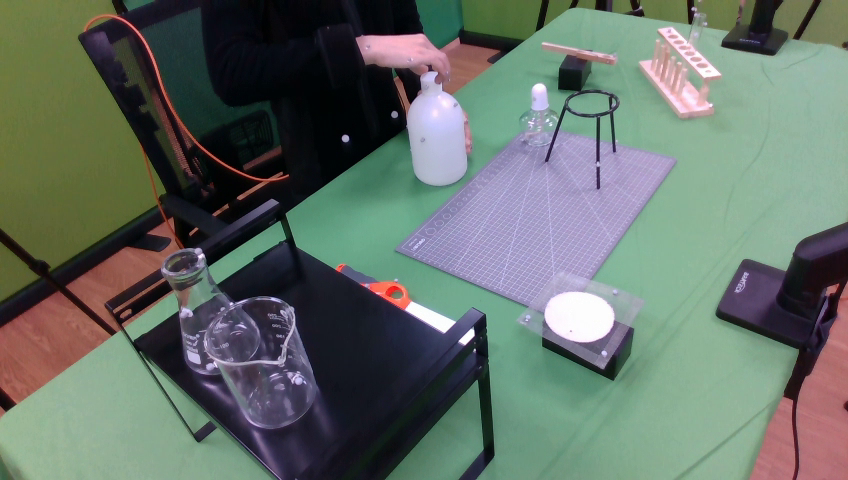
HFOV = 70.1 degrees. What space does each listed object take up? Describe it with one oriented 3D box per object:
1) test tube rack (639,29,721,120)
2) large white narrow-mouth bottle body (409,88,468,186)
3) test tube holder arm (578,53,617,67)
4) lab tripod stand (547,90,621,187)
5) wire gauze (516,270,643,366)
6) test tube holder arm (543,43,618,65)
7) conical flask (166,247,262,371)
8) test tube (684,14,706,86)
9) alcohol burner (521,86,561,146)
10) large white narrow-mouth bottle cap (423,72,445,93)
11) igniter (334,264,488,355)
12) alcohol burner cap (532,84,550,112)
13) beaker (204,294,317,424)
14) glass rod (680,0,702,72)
[{"bbox_3d":[0.527,-0.351,1.262,0.067,0.085,0.241,-8,40,1],"label":"test tube rack"},{"bbox_3d":[0.024,-0.201,1.082,0.102,0.195,0.101,-4,40,4],"label":"large white narrow-mouth bottle body"},{"bbox_3d":[0.376,-0.393,1.314,0.087,0.015,0.010,26,51,32],"label":"test tube holder arm"},{"bbox_3d":[0.289,-0.184,1.062,0.148,0.132,0.147,-6,41,6],"label":"lab tripod stand"},{"bbox_3d":[0.200,0.093,0.777,0.124,0.011,0.122,23,49,32],"label":"wire gauze"},{"bbox_3d":[0.344,-0.413,1.340,0.177,0.015,0.013,25,50,31],"label":"test tube holder arm"},{"bbox_3d":[-0.209,0.064,0.584,0.075,0.122,0.075,-5,40,4],"label":"conical flask"},{"bbox_3d":[0.540,-0.378,1.215,0.017,0.151,0.017,-2,44,3],"label":"test tube"},{"bbox_3d":[0.223,-0.241,1.155,0.078,0.119,0.077,-5,43,5],"label":"alcohol burner"},{"bbox_3d":[0.017,-0.267,1.024,0.038,0.024,0.037,-4,40,4],"label":"large white narrow-mouth bottle cap"},{"bbox_3d":[-0.030,0.095,0.872,0.274,0.025,0.057,22,59,31],"label":"igniter"},{"bbox_3d":[0.218,-0.268,1.133,0.034,0.048,0.033,-8,36,7],"label":"alcohol burner cap"},{"bbox_3d":[-0.137,0.110,0.536,0.083,0.101,0.074,30,53,36],"label":"beaker"},{"bbox_3d":[0.543,-0.417,1.233,0.008,0.200,0.008,1,40,0],"label":"glass rod"}]
